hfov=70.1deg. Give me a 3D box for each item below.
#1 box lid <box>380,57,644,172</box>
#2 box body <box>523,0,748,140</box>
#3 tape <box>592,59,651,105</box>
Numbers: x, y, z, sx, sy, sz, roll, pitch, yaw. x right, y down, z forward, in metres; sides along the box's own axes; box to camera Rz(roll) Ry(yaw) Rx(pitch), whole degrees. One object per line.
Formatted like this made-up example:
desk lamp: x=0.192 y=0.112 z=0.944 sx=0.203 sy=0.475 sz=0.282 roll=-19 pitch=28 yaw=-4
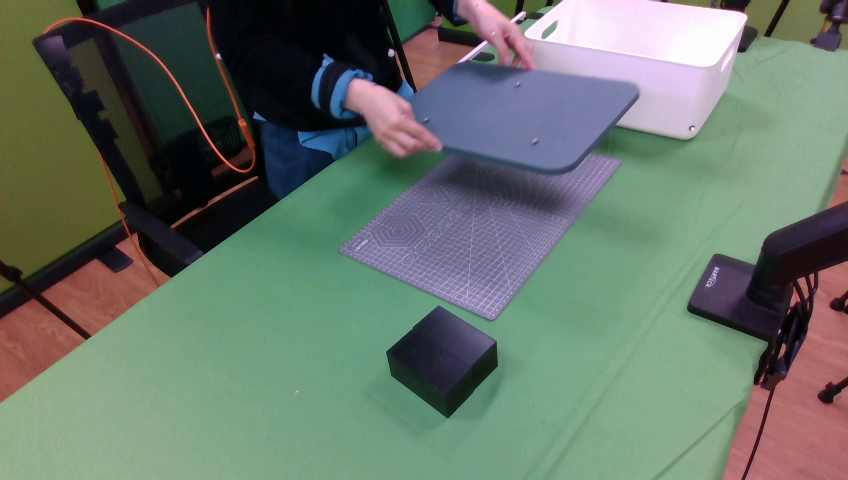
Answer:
box lid: x=0.134 y=-0.215 z=0.974 sx=0.368 sy=0.015 sz=0.264 roll=19 pitch=50 yaw=35
box body: x=0.412 y=-0.354 z=1.212 sx=0.361 sy=0.161 sz=0.254 roll=20 pitch=48 yaw=29
tape: x=0.409 y=-0.330 z=1.260 sx=0.117 sy=0.053 sz=0.116 roll=-4 pitch=40 yaw=4
